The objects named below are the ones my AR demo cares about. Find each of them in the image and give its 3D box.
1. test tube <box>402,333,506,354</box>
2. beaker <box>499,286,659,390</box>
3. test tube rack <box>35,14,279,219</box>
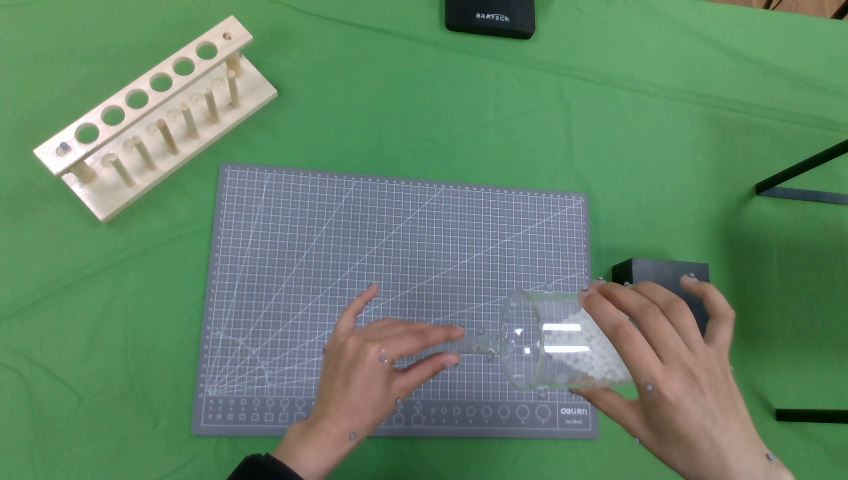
[{"bbox_3d":[0.022,0.093,0.541,0.017,0.150,0.017,6,77,-31],"label":"test tube"},{"bbox_3d":[0.114,0.075,0.457,0.101,0.084,0.073,3,75,-16],"label":"beaker"},{"bbox_3d":[-0.274,-0.133,0.655,0.242,0.085,0.066,-42,87,-17],"label":"test tube rack"}]
